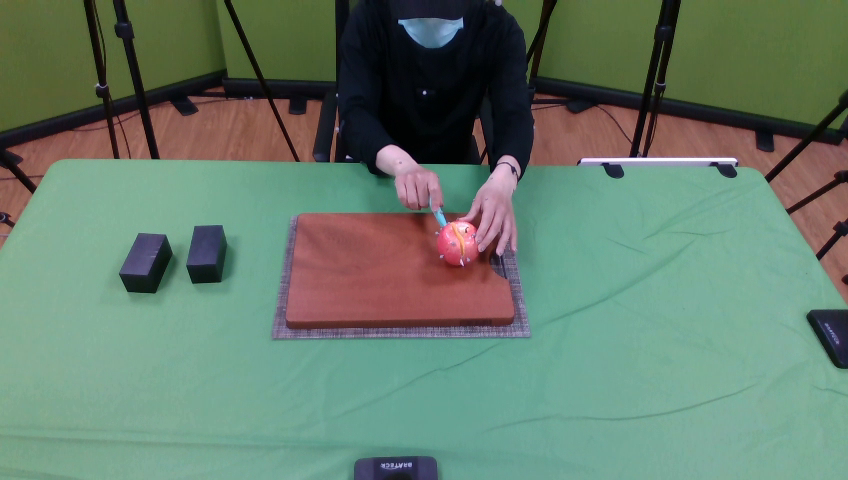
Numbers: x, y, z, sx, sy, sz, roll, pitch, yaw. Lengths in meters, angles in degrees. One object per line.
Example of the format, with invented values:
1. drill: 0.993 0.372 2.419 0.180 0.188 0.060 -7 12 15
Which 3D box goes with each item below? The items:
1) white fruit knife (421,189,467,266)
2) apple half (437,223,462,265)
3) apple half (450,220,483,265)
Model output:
1. white fruit knife: 0.038 -0.028 1.140 0.016 0.027 0.206 -16 52 -17
2. apple half: 0.041 0.013 1.107 0.033 0.081 0.080 -13 48 -17
3. apple half: 0.080 0.004 1.121 0.053 0.075 0.080 -9 44 -22
